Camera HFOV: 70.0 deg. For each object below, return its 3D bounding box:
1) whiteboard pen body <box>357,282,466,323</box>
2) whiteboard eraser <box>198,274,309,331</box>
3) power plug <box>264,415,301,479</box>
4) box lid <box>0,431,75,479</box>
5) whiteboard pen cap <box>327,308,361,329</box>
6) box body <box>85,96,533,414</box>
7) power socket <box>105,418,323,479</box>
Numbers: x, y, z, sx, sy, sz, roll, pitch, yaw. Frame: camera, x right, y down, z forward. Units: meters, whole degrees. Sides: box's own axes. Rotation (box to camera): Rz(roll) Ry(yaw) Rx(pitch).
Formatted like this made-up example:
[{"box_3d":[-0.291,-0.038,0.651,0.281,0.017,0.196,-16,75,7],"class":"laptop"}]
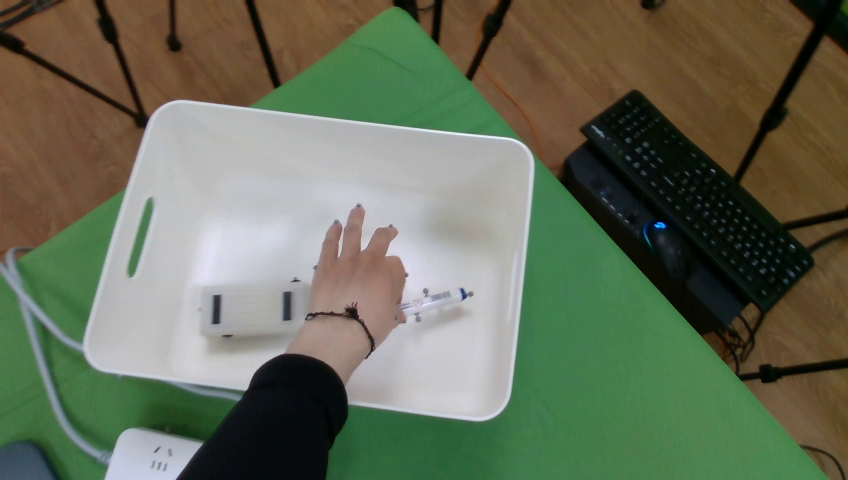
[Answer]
[{"box_3d":[-0.024,0.067,0.626,0.141,0.017,0.017,-14,73,-13],"class":"whiteboard pen body"},{"box_3d":[-0.180,0.066,0.646,0.113,0.042,0.055,-3,72,0],"class":"whiteboard eraser"},{"box_3d":[-0.131,0.214,0.593,0.035,0.053,0.072,20,71,9],"class":"power plug"},{"box_3d":[-0.475,0.394,0.582,0.371,0.015,0.262,-38,76,-9],"class":"box lid"},{"box_3d":[-0.080,0.078,0.612,0.033,0.018,0.018,-14,73,-12],"class":"whiteboard pen cap"},{"box_3d":[-0.092,0.025,0.603,0.364,0.161,0.253,7,74,3],"class":"box body"},{"box_3d":[-0.210,0.235,0.612,0.226,0.033,0.072,11,74,5],"class":"power socket"}]
